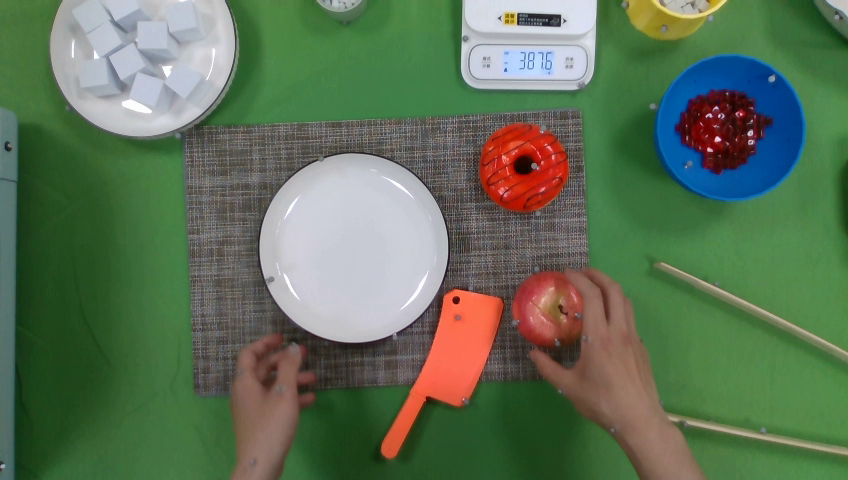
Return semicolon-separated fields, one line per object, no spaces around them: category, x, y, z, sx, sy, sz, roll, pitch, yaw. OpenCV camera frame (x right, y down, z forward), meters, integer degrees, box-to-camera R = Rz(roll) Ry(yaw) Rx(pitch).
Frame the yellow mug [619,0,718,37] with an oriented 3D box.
yellow mug;0.261;-0.293;0.656;0.100;0.064;0.130;-35;88;0

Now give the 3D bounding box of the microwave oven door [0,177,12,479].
microwave oven door;-0.473;0.105;0.551;0.039;0.244;0.355;-1;88;1

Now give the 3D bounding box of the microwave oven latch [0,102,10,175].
microwave oven latch;-0.469;-0.111;0.657;0.030;0.029;0.079;2;90;0

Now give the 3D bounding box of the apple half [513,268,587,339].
apple half;0.140;0.060;0.644;0.080;0.075;0.053;41;86;6

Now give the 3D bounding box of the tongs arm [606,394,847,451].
tongs arm;0.394;0.194;0.660;0.385;0.026;0.050;13;87;1

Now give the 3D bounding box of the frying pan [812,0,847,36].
frying pan;0.588;-0.243;0.632;0.307;0.103;0.486;-30;81;1

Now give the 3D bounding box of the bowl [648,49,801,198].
bowl;0.305;-0.116;0.646;0.151;0.077;0.151;0;89;1

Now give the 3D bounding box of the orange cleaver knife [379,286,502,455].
orange cleaver knife;0.019;0.147;0.670;0.077;0.012;0.211;26;87;-4

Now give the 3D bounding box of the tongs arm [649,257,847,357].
tongs arm;0.421;0.112;0.661;0.387;0.028;0.028;28;83;1

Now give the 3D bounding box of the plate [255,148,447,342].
plate;-0.078;0.005;0.665;0.209;0.038;0.209;0;89;1

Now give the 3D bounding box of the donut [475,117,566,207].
donut;0.104;-0.085;0.661;0.099;0.048;0.099;0;89;3

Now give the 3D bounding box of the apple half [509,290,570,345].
apple half;0.114;0.089;0.642;0.081;0.081;0.033;42;85;2

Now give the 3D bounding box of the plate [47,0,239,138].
plate;-0.307;-0.215;0.675;0.208;0.039;0.207;0;89;1

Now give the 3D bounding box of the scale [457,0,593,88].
scale;0.114;-0.273;0.674;0.148;0.031;0.200;1;89;1

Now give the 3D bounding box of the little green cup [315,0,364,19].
little green cup;-0.095;-0.279;0.674;0.061;0.038;0.061;0;88;1
